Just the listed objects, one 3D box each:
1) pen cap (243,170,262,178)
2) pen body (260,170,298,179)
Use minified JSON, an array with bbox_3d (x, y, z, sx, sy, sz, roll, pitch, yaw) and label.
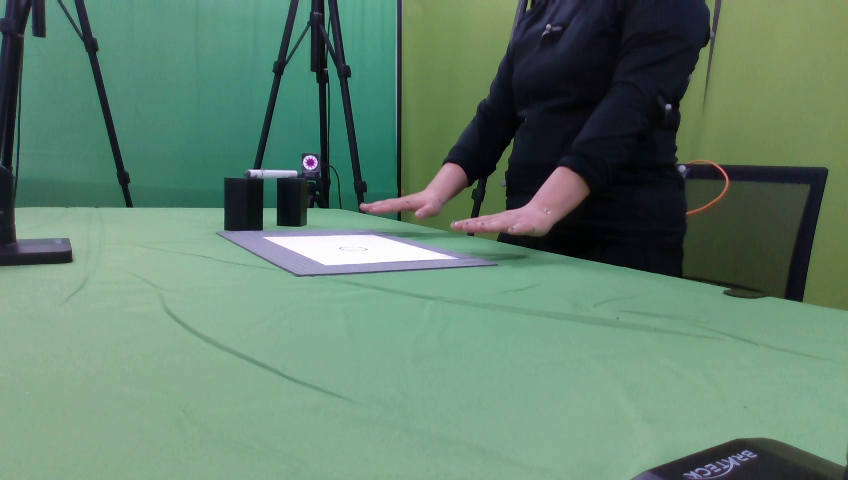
[{"bbox_3d":[-0.328,-0.126,1.154,0.017,0.017,0.038,6,10,22],"label":"pen cap"},{"bbox_3d":[-0.301,-0.131,1.211,0.017,0.017,0.144,6,8,24],"label":"pen body"}]
